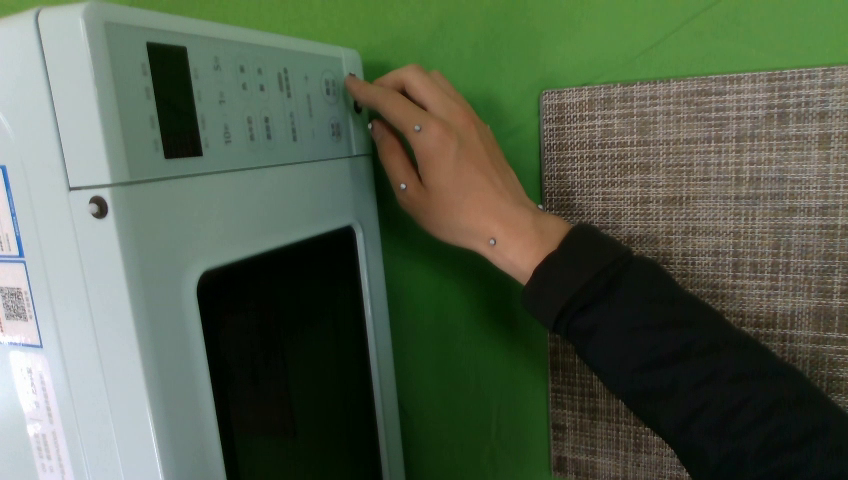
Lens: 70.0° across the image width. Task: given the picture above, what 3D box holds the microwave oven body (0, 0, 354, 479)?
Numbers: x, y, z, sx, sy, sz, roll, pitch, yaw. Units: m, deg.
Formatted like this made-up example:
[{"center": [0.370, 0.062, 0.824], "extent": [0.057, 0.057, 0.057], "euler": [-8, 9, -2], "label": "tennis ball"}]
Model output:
[{"center": [-0.219, 0.088, 0.463], "extent": [0.324, 0.260, 0.443], "euler": [-1, 102, 23], "label": "microwave oven body"}]

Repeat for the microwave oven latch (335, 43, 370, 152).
[{"center": [-0.061, -0.106, 0.456], "extent": [0.030, 0.029, 0.079], "euler": [0, 103, 23], "label": "microwave oven latch"}]

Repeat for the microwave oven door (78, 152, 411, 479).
[{"center": [-0.084, 0.128, 0.408], "extent": [0.039, 0.244, 0.357], "euler": [-1, 101, 24], "label": "microwave oven door"}]
